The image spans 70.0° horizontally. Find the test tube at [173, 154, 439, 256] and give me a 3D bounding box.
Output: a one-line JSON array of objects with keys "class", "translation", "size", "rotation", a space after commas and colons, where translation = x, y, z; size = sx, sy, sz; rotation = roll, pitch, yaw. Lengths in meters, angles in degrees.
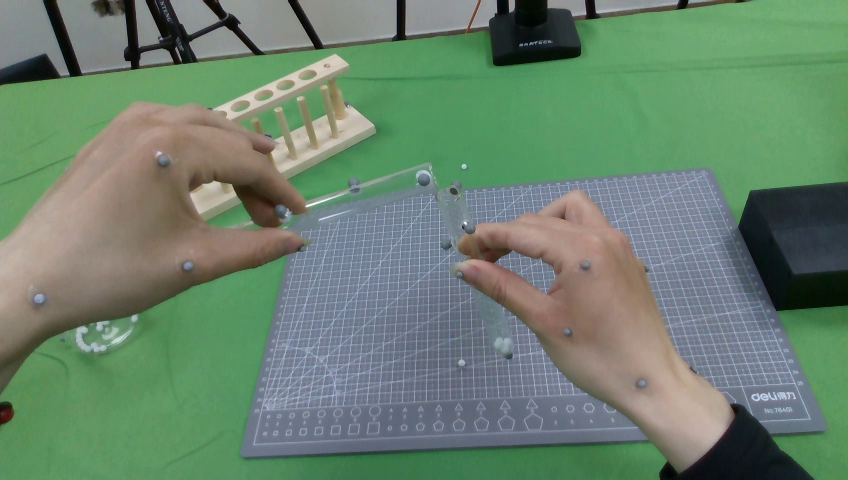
[{"class": "test tube", "translation": [-0.065, -0.018, 0.327], "size": [0.150, 0.017, 0.017], "rotation": [-16, 47, 4]}]

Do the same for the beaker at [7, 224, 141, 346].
[{"class": "beaker", "translation": [-0.318, 0.044, 0.566], "size": [0.073, 0.101, 0.083], "rotation": [17, 53, 23]}]

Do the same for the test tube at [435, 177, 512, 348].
[{"class": "test tube", "translation": [0.034, 0.021, 0.381], "size": [0.017, 0.152, 0.017], "rotation": [-12, 43, 12]}]

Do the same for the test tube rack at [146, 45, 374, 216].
[{"class": "test tube rack", "translation": [-0.184, -0.132, 0.713], "size": [0.242, 0.086, 0.066], "rotation": [-32, 51, -18]}]
